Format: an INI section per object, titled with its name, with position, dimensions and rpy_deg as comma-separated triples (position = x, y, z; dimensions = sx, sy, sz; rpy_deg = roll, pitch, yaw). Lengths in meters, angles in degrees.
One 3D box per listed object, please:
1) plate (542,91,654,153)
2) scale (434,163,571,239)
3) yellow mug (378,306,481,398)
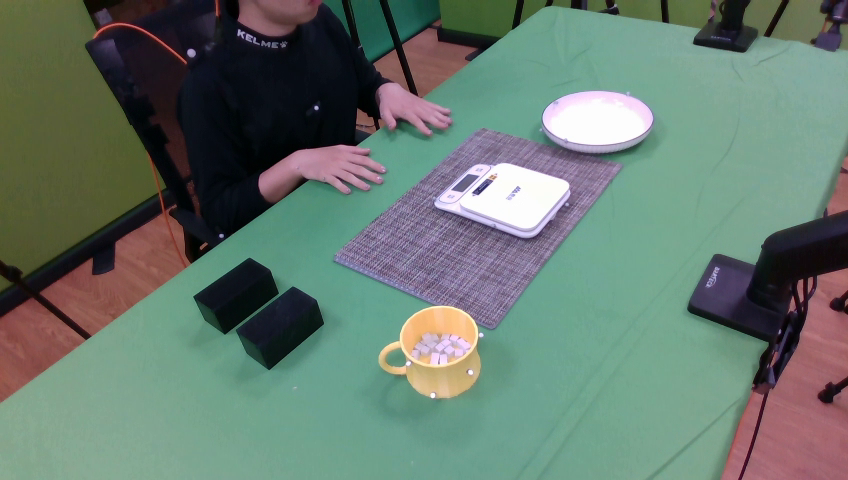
[plate]
position = 0.334, -0.224, 1.171
dimensions = 0.209, 0.038, 0.208
rpy_deg = -4, 40, 4
[scale]
position = 0.132, -0.075, 1.025
dimensions = 0.199, 0.032, 0.149
rpy_deg = 22, 48, 30
[yellow mug]
position = 0.006, 0.144, 0.766
dimensions = 0.131, 0.064, 0.099
rpy_deg = -10, 40, -3
